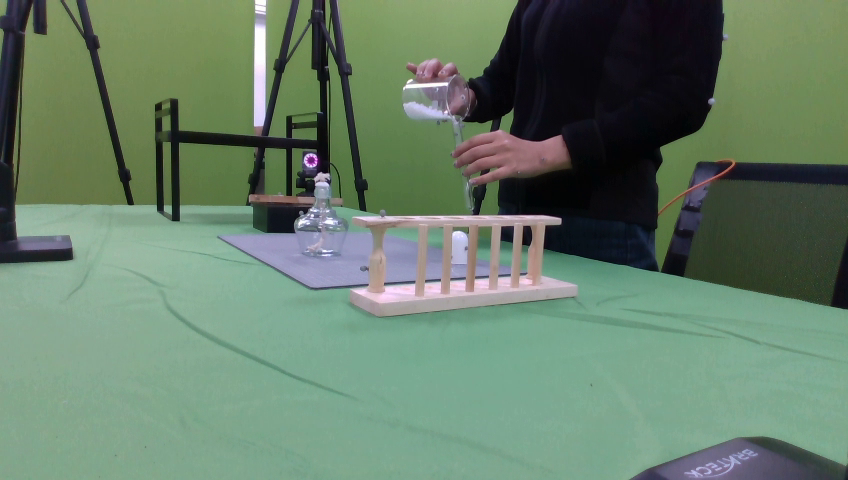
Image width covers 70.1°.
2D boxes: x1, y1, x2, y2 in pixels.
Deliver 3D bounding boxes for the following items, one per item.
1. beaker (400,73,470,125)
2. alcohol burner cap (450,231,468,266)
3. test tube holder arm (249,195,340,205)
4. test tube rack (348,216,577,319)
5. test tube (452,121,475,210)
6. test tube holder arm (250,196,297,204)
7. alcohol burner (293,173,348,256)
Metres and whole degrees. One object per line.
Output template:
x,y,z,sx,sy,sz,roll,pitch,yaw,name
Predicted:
0.017,-0.237,1.025,0.100,0.084,0.074,6,10,35,beaker
0.046,0.011,0.838,0.034,0.048,0.034,3,7,0,alcohol burner cap
-0.247,-0.077,1.168,0.179,0.015,0.013,-1,10,-31,test tube holder arm
0.048,0.021,0.619,0.244,0.085,0.066,-2,9,-31,test tube rack
0.065,-0.123,0.997,0.017,0.150,0.017,-9,-5,0,test tube
-0.284,-0.076,1.141,0.088,0.015,0.010,0,10,-29,test tube holder arm
-0.147,-0.036,0.859,0.078,0.119,0.078,4,8,0,alcohol burner
